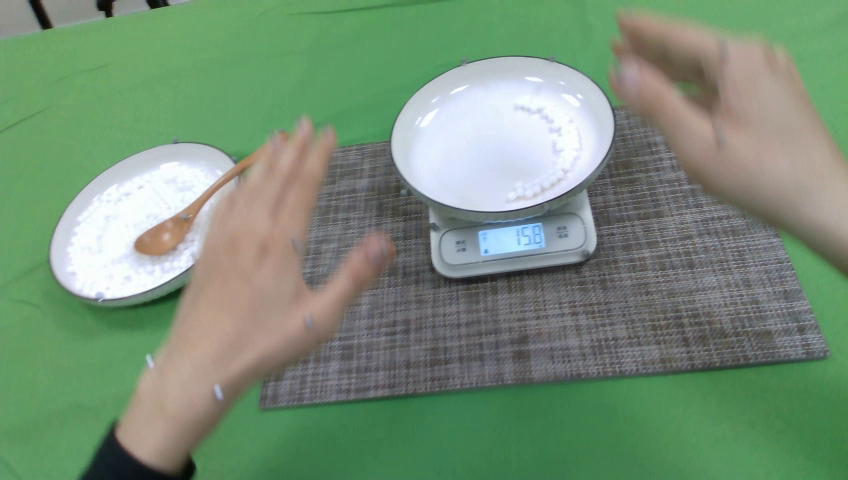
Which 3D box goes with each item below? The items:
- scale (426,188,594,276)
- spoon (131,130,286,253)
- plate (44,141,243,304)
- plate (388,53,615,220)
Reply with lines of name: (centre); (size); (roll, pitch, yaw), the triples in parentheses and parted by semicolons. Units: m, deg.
scale: (0.074, -0.061, 0.587); (0.148, 0.032, 0.199); (-8, 53, 7)
spoon: (-0.218, -0.053, 0.626); (0.193, 0.022, 0.041); (-44, 57, -11)
plate: (-0.287, -0.019, 0.637); (0.209, 0.038, 0.207); (-5, 54, 8)
plate: (0.071, -0.097, 0.573); (0.207, 0.039, 0.205); (-6, 53, 8)
